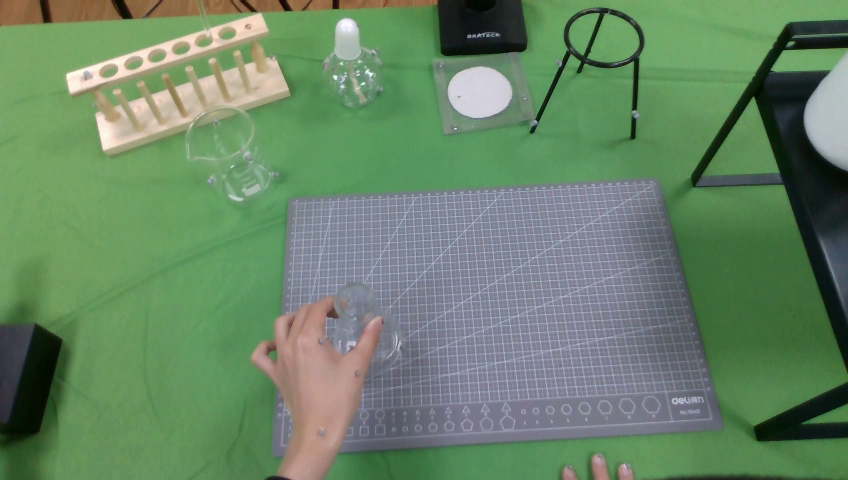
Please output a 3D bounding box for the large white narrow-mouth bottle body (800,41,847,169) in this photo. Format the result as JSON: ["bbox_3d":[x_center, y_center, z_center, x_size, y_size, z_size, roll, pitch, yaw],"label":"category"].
[{"bbox_3d":[0.383,-0.143,0.463,0.102,0.196,0.101,-1,61,2],"label":"large white narrow-mouth bottle body"}]

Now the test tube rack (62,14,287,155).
[{"bbox_3d":[-0.307,-0.197,0.766,0.242,0.086,0.066,-21,64,-10],"label":"test tube rack"}]

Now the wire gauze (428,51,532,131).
[{"bbox_3d":[0.072,-0.203,0.805,0.121,0.011,0.124,-7,63,-4],"label":"wire gauze"}]

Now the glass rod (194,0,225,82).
[{"bbox_3d":[-0.263,-0.261,0.723,0.008,0.201,0.008,2,61,-3],"label":"glass rod"}]

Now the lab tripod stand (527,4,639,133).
[{"bbox_3d":[0.201,-0.201,0.732,0.148,0.132,0.147,0,62,0],"label":"lab tripod stand"}]

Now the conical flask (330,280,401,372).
[{"bbox_3d":[-0.063,0.079,0.597,0.075,0.123,0.074,0,62,1],"label":"conical flask"}]

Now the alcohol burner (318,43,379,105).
[{"bbox_3d":[-0.097,-0.228,0.763,0.078,0.120,0.077,0,60,0],"label":"alcohol burner"}]

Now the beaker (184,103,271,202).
[{"bbox_3d":[-0.226,-0.095,0.705,0.073,0.101,0.084,41,71,20],"label":"beaker"}]

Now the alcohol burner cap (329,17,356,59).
[{"bbox_3d":[-0.098,-0.247,0.731,0.034,0.048,0.033,4,61,-7],"label":"alcohol burner cap"}]
